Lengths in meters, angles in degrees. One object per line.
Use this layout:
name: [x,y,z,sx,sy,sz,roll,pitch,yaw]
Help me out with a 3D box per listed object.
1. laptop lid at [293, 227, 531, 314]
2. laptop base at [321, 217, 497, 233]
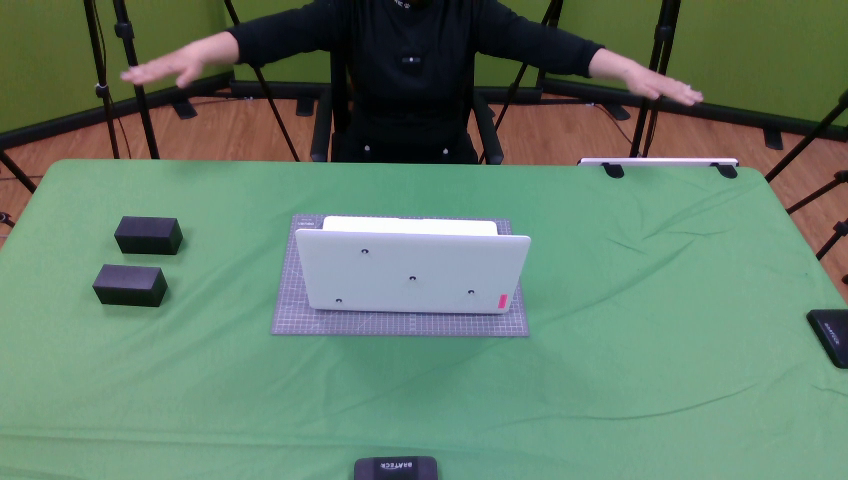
laptop lid: [-0.021,0.057,0.976,0.357,0.243,0.013,2,53,-4]
laptop base: [-0.028,0.044,1.154,0.354,0.023,0.234,2,43,-3]
